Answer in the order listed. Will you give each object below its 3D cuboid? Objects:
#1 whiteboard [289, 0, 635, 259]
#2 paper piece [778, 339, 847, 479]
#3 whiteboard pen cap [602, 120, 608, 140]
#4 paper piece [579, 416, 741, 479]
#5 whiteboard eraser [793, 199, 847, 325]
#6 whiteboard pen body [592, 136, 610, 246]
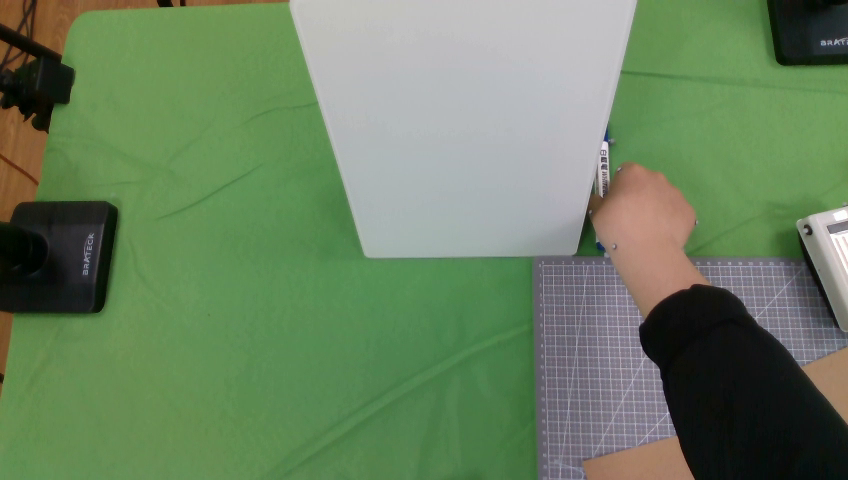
[{"bbox_3d":[0.036,-0.125,0.529,0.217,0.308,0.142,0,56,5],"label":"whiteboard"},{"bbox_3d":[0.416,0.153,0.549,0.136,0.009,0.137,-23,77,2],"label":"paper piece"},{"bbox_3d":[0.183,-0.121,0.633,0.018,0.018,0.033,-1,74,4],"label":"whiteboard pen cap"},{"bbox_3d":[0.223,0.241,0.541,0.135,0.004,0.135,-15,75,1],"label":"paper piece"},{"bbox_3d":[0.394,0.020,0.566,0.055,0.042,0.112,-15,75,2],"label":"whiteboard eraser"},{"bbox_3d":[0.180,-0.062,0.623,0.017,0.017,0.140,1,74,5],"label":"whiteboard pen body"}]
